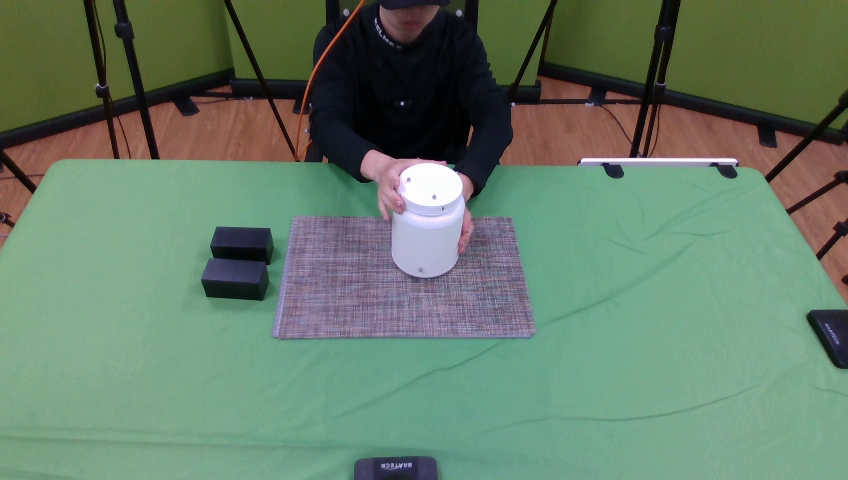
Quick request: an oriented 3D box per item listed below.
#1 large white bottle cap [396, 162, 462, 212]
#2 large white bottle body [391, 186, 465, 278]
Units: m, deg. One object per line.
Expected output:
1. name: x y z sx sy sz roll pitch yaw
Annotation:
1. large white bottle cap: 0.009 -0.093 1.052 0.115 0.018 0.114 2 46 -2
2. large white bottle body: 0.005 -0.034 1.113 0.131 0.185 0.130 2 46 -2
